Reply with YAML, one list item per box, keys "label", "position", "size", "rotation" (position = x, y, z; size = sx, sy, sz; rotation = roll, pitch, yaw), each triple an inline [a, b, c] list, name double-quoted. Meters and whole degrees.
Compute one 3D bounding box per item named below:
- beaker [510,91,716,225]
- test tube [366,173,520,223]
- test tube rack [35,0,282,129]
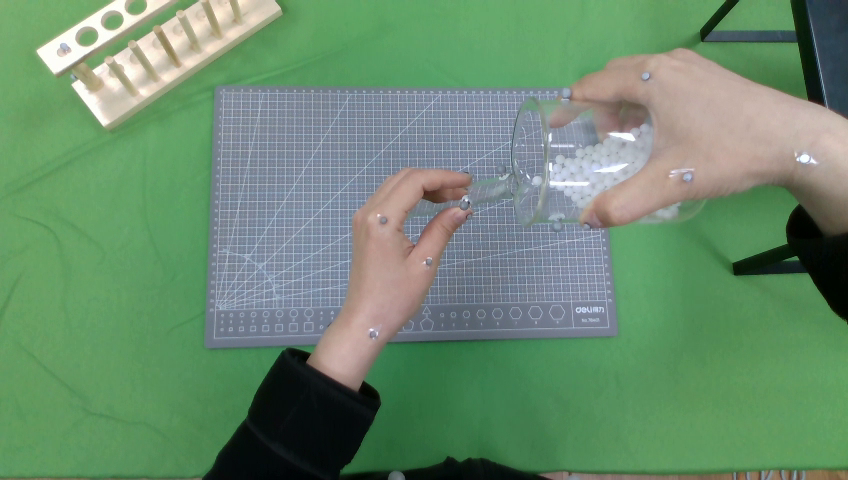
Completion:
- label: "beaker"
  position: [0.106, -0.044, 0.355]
  size: [0.100, 0.084, 0.073]
  rotation: [0, 76, -5]
- label: "test tube"
  position: [0.007, -0.028, 0.440]
  size: [0.017, 0.149, 0.017]
  rotation: [7, 79, -43]
- label: "test tube rack"
  position: [-0.281, -0.232, 0.668]
  size: [0.242, 0.085, 0.066]
  rotation: [-38, 83, -11]
